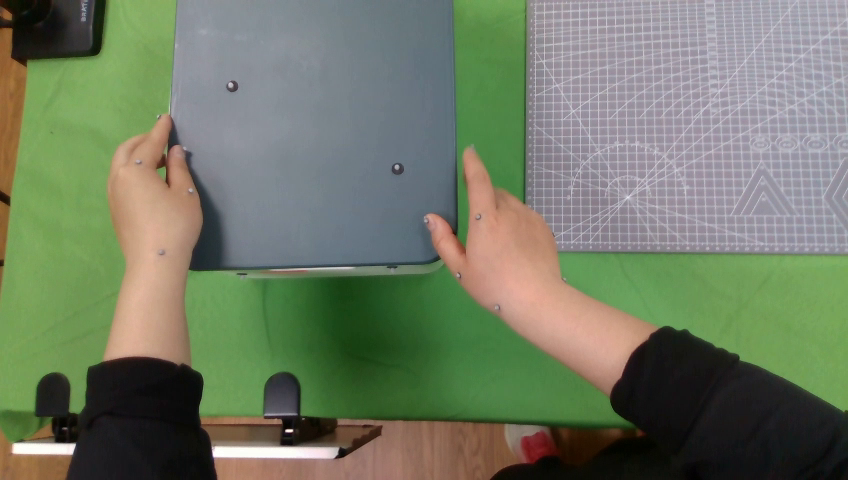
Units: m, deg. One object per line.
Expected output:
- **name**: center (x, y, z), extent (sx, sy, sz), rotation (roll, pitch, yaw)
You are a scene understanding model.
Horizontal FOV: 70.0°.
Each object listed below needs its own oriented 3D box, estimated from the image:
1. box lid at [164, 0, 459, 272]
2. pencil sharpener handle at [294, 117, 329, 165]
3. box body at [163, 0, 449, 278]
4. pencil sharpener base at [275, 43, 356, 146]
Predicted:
- **box lid**: center (-0.103, -0.158, 0.554), extent (0.263, 0.015, 0.370), rotation (-2, 81, 5)
- **pencil sharpener handle**: center (-0.115, -0.103, 0.635), extent (0.036, 0.068, 0.030), rotation (-3, 79, -4)
- **box body**: center (-0.104, -0.142, 0.633), extent (0.254, 0.161, 0.362), rotation (-3, 80, 6)
- **pencil sharpener base**: center (-0.114, -0.151, 0.656), extent (0.061, 0.107, 0.076), rotation (-5, 80, 6)
